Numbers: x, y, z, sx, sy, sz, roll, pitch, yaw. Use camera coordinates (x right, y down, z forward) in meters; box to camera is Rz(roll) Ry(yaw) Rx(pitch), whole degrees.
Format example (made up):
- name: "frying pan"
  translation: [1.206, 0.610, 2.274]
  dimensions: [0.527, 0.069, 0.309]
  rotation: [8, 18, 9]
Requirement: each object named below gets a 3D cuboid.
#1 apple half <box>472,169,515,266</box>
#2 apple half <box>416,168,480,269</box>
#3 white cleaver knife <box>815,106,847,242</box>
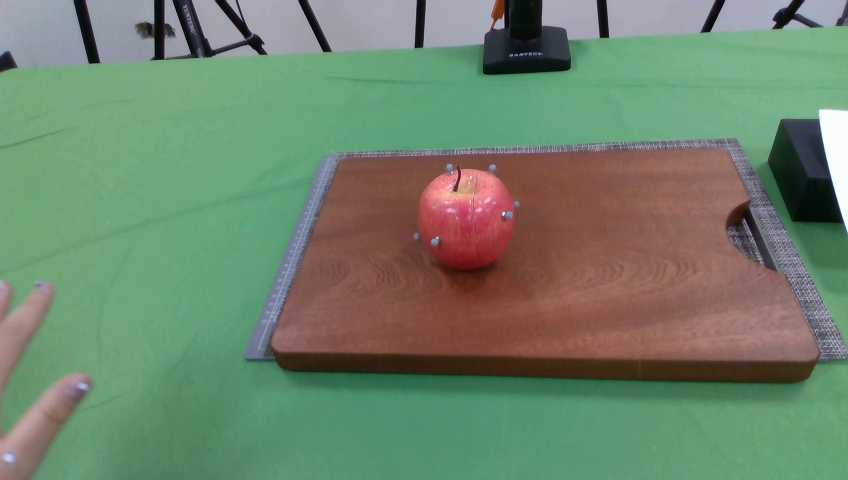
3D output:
- name: "apple half"
  translation: [0.059, -0.018, 0.501]
  dimensions: [0.033, 0.082, 0.080]
  rotation: [-4, 41, 11]
- name: "apple half"
  translation: [0.021, -0.017, 0.507]
  dimensions: [0.053, 0.075, 0.080]
  rotation: [-3, 44, 12]
- name: "white cleaver knife"
  translation: [0.374, -0.009, 0.490]
  dimensions: [0.065, 0.022, 0.284]
  rotation: [0, 53, 14]
